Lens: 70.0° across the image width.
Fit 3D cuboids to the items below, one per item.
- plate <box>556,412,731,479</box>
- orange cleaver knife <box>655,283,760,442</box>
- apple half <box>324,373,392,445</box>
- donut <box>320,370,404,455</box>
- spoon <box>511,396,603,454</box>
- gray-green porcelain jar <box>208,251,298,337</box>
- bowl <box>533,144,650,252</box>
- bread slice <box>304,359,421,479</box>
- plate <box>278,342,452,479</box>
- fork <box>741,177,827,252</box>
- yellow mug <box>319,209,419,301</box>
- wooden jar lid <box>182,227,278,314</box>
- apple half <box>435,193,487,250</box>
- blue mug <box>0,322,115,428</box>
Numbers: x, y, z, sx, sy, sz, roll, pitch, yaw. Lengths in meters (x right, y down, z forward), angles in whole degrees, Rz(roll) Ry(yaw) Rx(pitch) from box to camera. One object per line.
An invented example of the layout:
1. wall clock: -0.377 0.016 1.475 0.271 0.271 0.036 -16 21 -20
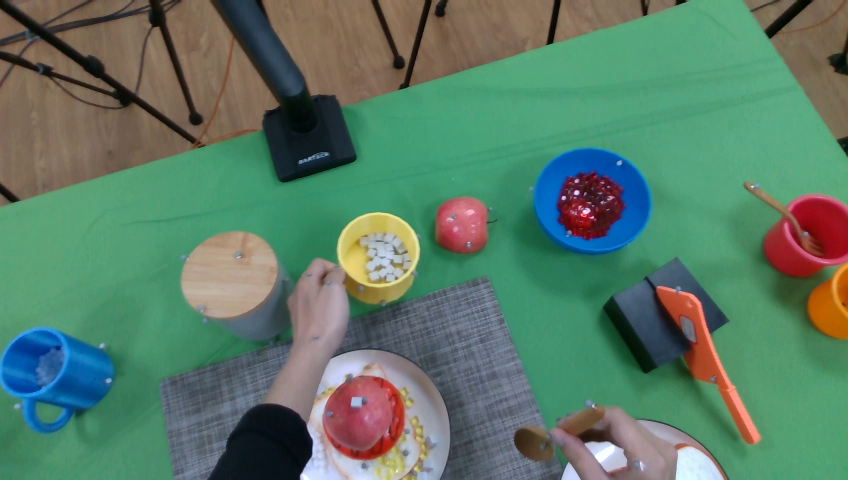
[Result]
1. plate: 0.253 0.308 0.699 0.209 0.038 0.207 -1 68 2
2. orange cleaver knife: 0.341 0.146 0.737 0.012 0.077 0.211 -27 92 -16
3. apple half: -0.076 0.190 0.682 0.081 0.033 0.080 -3 69 8
4. donut: -0.072 0.203 0.715 0.099 0.048 0.098 -1 71 2
5. spoon: 0.116 0.166 0.535 0.041 0.195 0.021 39 67 10
6. gray-green porcelain jar: -0.220 0.061 0.763 0.106 0.127 0.105 -1 67 2
7. bowl: 0.218 -0.044 0.818 0.151 0.077 0.150 -1 69 2
8. bread slice: -0.066 0.227 0.737 0.107 0.018 0.133 -34 71 -10
9. plate: -0.070 0.230 0.735 0.207 0.039 0.206 0 68 2
10. fork: 0.459 -0.031 0.767 0.209 0.018 0.028 28 64 -32
11. yellow mug: -0.072 0.027 0.753 0.131 0.064 0.099 -28 73 -16
12. wooden jar lid: -0.223 0.037 0.703 0.108 0.021 0.107 0 65 0
13. apple half: 0.051 -0.031 0.831 0.074 0.054 0.080 3 69 6
14. blue mug: -0.447 0.168 0.737 0.082 0.106 0.115 2 68 2
